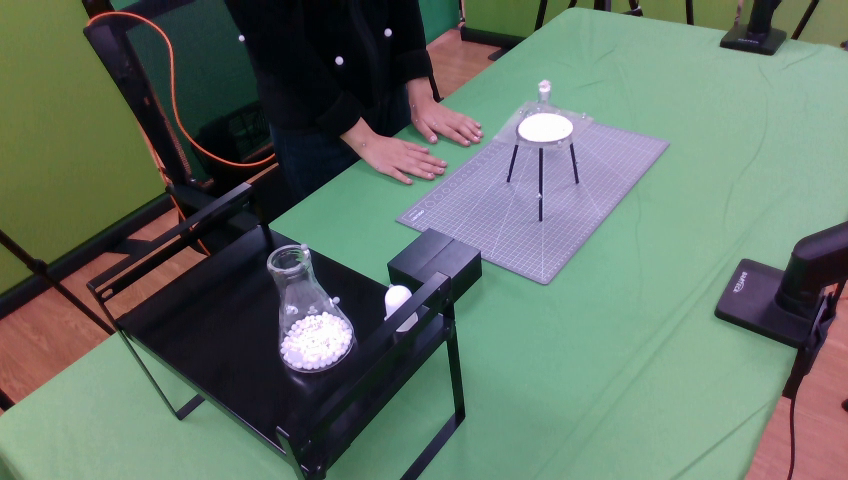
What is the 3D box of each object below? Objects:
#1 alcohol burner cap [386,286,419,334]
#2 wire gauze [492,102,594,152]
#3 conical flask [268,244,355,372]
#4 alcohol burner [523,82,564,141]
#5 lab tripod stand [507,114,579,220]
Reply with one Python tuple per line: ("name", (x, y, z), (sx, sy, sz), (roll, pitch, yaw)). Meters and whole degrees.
("alcohol burner cap", (-0.024, 0.067, 0.604), (0.034, 0.048, 0.033), (-5, 39, 4))
("wire gauze", (0.191, -0.180, 0.964), (0.120, 0.011, 0.125), (19, 48, 28))
("conical flask", (-0.111, 0.060, 0.564), (0.075, 0.122, 0.075), (-5, 41, 4))
("alcohol burner", (0.230, -0.250, 1.161), (0.078, 0.119, 0.077), (-4, 43, 4))
("lab tripod stand", (0.199, -0.128, 1.005), (0.148, 0.132, 0.147), (-3, 42, 3))
